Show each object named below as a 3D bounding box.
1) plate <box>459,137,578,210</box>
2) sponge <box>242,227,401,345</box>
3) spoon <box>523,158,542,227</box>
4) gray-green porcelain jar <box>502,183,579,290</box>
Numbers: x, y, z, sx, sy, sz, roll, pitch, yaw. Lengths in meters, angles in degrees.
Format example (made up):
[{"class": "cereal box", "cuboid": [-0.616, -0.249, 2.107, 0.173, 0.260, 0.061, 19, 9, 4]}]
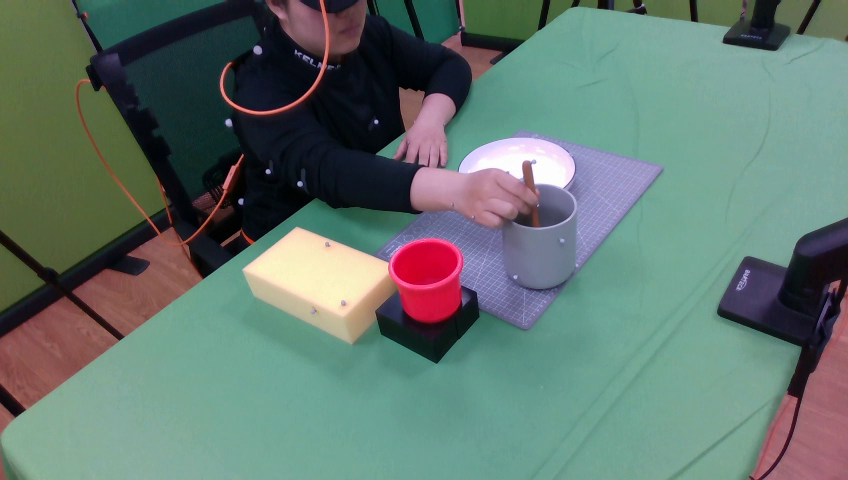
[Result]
[{"class": "plate", "cuboid": [0.166, -0.113, 1.068, 0.207, 0.039, 0.206, -5, 40, 5]}, {"class": "sponge", "cuboid": [-0.153, 0.063, 0.907, 0.205, 0.061, 0.118, 19, 48, 30]}, {"class": "spoon", "cuboid": [0.150, -0.036, 0.821, 0.041, 0.195, 0.021, 3, 45, 22]}, {"class": "gray-green porcelain jar", "cuboid": [0.167, -0.001, 0.866, 0.106, 0.127, 0.105, -5, 40, 5]}]
